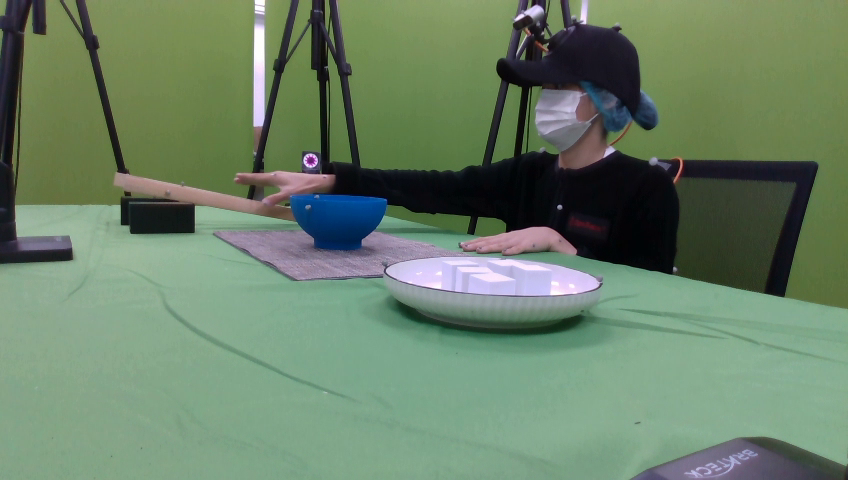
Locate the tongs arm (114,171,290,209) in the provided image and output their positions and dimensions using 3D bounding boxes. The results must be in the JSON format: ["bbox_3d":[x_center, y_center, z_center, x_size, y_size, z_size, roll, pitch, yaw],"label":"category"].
[{"bbox_3d":[-0.394,-0.078,1.183,0.387,0.026,0.050,12,0,-27],"label":"tongs arm"}]

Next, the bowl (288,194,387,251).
[{"bbox_3d":[-0.135,-0.027,0.936,0.151,0.077,0.151,3,7,0],"label":"bowl"}]

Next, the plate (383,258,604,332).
[{"bbox_3d":[0.064,0.051,0.582,0.209,0.038,0.209,3,7,0],"label":"plate"}]

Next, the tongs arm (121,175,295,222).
[{"bbox_3d":[-0.347,-0.065,1.108,0.390,0.027,0.028,11,-3,-42],"label":"tongs arm"}]
